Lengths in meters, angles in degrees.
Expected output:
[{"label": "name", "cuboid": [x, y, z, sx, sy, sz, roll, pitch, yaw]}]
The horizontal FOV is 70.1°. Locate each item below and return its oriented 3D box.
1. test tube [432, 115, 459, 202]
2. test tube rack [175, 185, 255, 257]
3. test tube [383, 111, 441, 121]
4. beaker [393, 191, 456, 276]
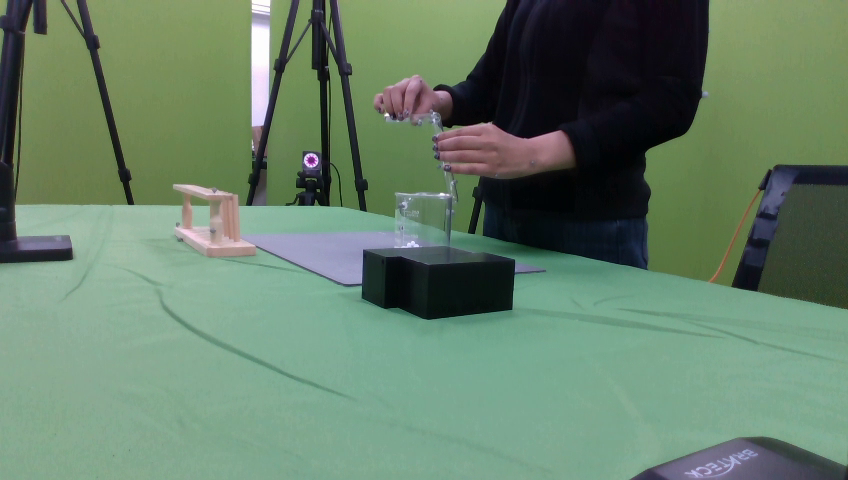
[{"label": "test tube", "cuboid": [0.032, -0.123, 0.903, 0.017, 0.150, 0.017, -9, -23, -4]}, {"label": "test tube rack", "cuboid": [-0.324, -0.035, 0.922, 0.067, 0.085, 0.241, -2, 9, -31]}, {"label": "test tube", "cuboid": [-0.023, -0.202, 0.989, 0.017, 0.017, 0.149, -3, 11, -36]}, {"label": "beaker", "cuboid": [-0.003, -0.010, 0.749, 0.074, 0.100, 0.083, -3, 8, -40]}]
